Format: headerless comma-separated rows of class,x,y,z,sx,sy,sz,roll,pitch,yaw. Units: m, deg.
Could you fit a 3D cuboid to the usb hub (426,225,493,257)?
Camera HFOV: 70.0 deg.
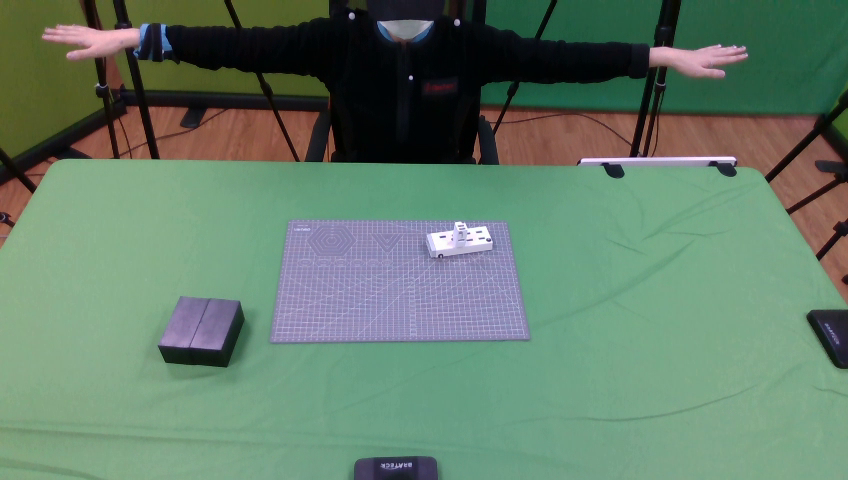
usb hub,0.070,0.003,1.193,0.125,0.025,0.049,-8,48,-11

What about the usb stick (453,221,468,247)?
usb stick,0.069,-0.006,1.161,0.021,0.059,0.027,-7,48,-13
